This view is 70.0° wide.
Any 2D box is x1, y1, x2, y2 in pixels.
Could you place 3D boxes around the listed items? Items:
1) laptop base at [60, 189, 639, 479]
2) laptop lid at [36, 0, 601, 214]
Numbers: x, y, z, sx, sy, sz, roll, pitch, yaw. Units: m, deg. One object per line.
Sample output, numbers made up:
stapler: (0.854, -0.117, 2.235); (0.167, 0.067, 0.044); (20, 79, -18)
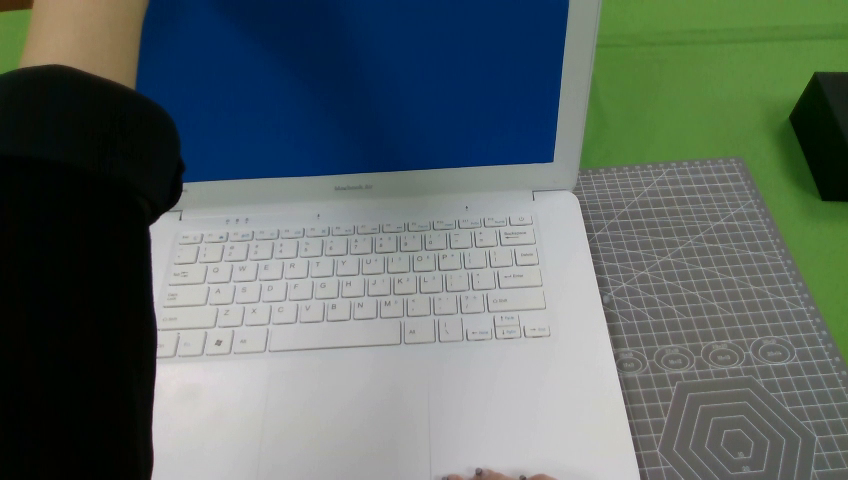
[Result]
laptop base: (-0.051, 0.068, 0.426); (0.354, 0.023, 0.233); (-3, 57, 1)
laptop lid: (-0.061, -0.115, 0.413); (0.357, 0.244, 0.013); (-4, 43, 2)
